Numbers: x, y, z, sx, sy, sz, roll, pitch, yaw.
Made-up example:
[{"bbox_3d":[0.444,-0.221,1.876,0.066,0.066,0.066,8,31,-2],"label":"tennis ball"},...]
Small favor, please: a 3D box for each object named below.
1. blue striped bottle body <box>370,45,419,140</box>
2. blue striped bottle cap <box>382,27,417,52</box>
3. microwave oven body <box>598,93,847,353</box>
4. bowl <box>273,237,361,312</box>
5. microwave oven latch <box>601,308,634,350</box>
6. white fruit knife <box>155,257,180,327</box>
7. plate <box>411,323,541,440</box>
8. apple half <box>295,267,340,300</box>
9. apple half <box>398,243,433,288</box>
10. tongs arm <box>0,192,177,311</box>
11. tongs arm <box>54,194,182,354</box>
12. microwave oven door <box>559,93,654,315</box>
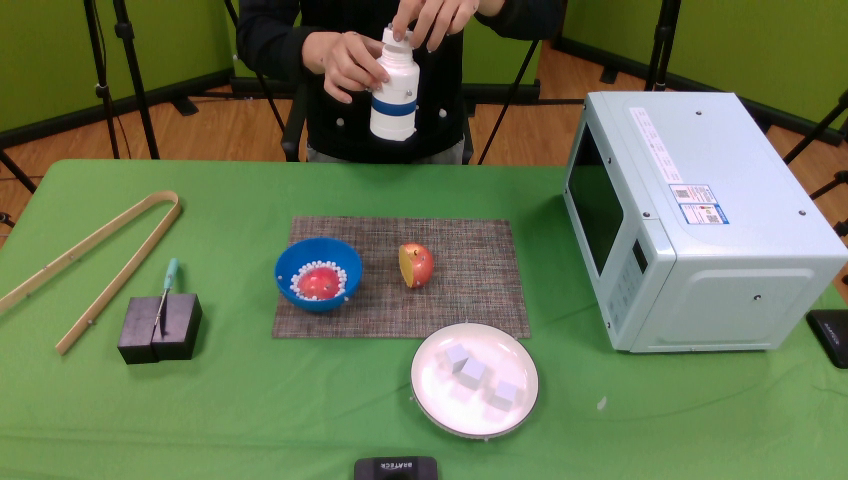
[{"bbox_3d":[-0.040,-0.204,0.828,0.063,0.121,0.062,5,37,-3],"label":"blue striped bottle body"},{"bbox_3d":[-0.032,-0.261,0.786,0.044,0.021,0.044,11,28,-6],"label":"blue striped bottle cap"},{"bbox_3d":[0.475,-0.041,1.109,0.326,0.261,0.438,-1,45,-4],"label":"microwave oven body"},{"bbox_3d":[-0.186,0.074,1.069,0.151,0.077,0.150,3,46,-3],"label":"bowl"},{"bbox_3d":[0.331,0.153,1.044,0.030,0.029,0.078,-2,45,-5],"label":"microwave oven latch"},{"bbox_3d":[-0.440,0.085,1.037,0.016,0.027,0.206,10,26,-19],"label":"white fruit knife"},{"bbox_3d":[0.082,0.228,0.976,0.208,0.039,0.206,2,45,-2],"label":"plate"},{"bbox_3d":[-0.187,0.070,1.067,0.081,0.033,0.081,2,47,-2],"label":"apple half"},{"bbox_3d":[-0.012,0.046,1.115,0.053,0.075,0.080,-11,44,-19],"label":"apple half"},{"bbox_3d":[-0.618,0.020,1.124,0.050,0.026,0.384,24,47,16],"label":"tongs arm"},{"bbox_3d":[-0.543,0.048,1.107,0.028,0.028,0.385,11,45,10],"label":"tongs arm"},{"bbox_3d":[0.327,-0.074,1.123,0.039,0.245,0.353,-1,46,-5],"label":"microwave oven door"}]
